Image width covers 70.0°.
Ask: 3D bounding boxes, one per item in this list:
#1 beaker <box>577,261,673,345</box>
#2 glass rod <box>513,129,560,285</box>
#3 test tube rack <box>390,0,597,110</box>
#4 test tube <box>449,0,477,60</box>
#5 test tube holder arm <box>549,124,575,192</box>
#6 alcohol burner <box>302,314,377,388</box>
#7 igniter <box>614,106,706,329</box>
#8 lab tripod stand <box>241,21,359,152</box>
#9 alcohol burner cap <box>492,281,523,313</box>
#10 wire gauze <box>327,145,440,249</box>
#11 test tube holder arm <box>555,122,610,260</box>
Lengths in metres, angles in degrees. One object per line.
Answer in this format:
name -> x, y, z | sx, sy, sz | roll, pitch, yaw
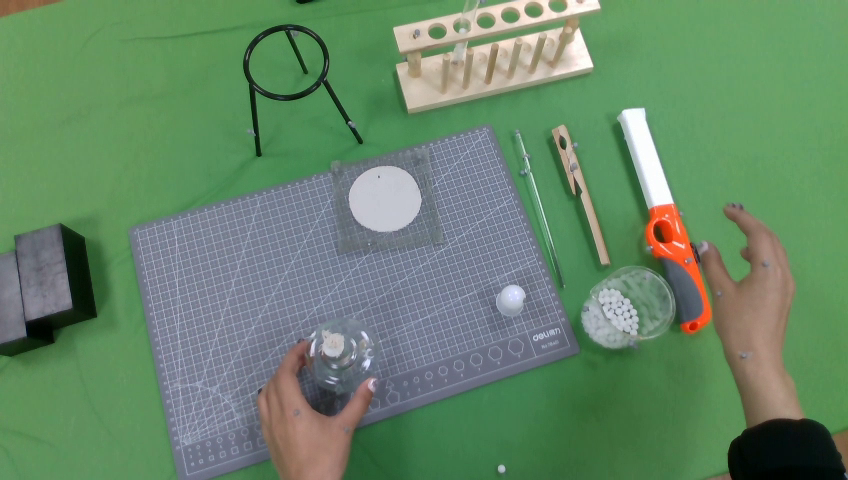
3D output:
beaker -> 0.204, 0.071, 0.644 | 0.084, 0.101, 0.073 | 13, 73, 5
glass rod -> 0.133, -0.042, 0.722 | 0.008, 0.008, 0.198 | -12, 76, -5
test tube rack -> 0.086, -0.234, 0.739 | 0.242, 0.085, 0.066 | -14, 74, -5
test tube -> 0.045, -0.253, 0.692 | 0.017, 0.151, 0.017 | 2, 73, -6
test tube holder arm -> 0.171, -0.100, 0.736 | 0.010, 0.015, 0.087 | -24, 73, 28
alcohol burner -> -0.089, 0.110, 0.617 | 0.078, 0.120, 0.077 | 0, 73, 2
igniter -> 0.276, -0.033, 0.712 | 0.057, 0.025, 0.274 | -7, 74, -14
lab tripod stand -> -0.149, -0.168, 0.691 | 0.148, 0.132, 0.147 | 0, 75, -1
alcohol burner cap -> 0.095, 0.061, 0.672 | 0.034, 0.048, 0.033 | 0, 73, 0
wire gauze -> -0.049, -0.051, 0.721 | 0.125, 0.011, 0.121 | -6, 75, -3
test tube holder arm -> 0.188, -0.060, 0.722 | 0.013, 0.015, 0.177 | -25, 72, 28
